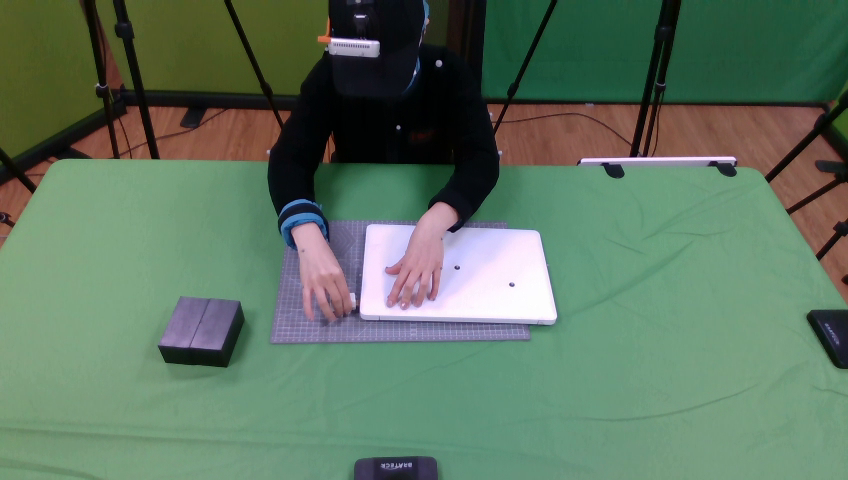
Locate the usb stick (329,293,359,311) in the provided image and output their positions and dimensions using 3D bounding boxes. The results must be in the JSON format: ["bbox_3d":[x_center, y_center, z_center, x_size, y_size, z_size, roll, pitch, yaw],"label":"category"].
[{"bbox_3d":[-0.137,0.109,1.066,0.059,0.027,0.021,-3,43,-12],"label":"usb stick"}]

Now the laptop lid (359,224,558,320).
[{"bbox_3d":[0.061,0.054,1.138,0.357,0.013,0.240,3,44,-2],"label":"laptop lid"}]

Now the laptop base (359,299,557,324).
[{"bbox_3d":[0.061,0.063,1.145,0.354,0.023,0.234,2,43,-3],"label":"laptop base"}]
